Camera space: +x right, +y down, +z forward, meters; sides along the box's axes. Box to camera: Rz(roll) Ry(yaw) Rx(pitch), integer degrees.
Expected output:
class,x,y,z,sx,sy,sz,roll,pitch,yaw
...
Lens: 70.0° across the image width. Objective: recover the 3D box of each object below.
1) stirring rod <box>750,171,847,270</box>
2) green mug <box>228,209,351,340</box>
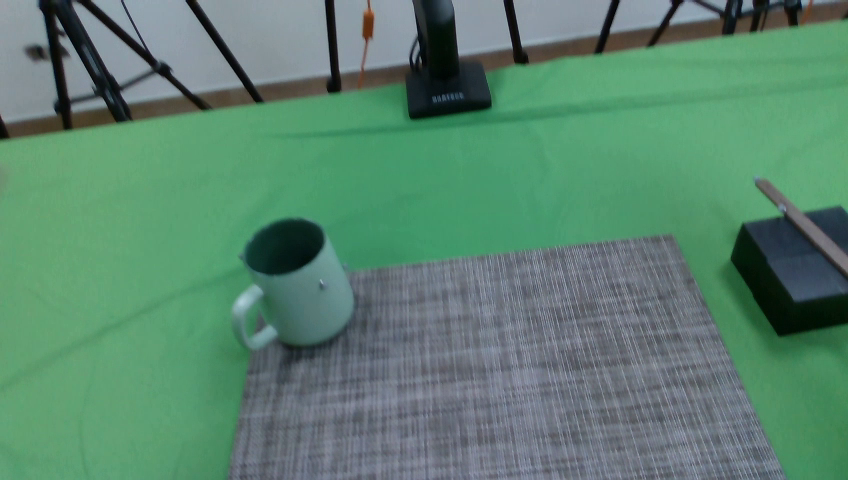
class,x,y,z,sx,sy,sz,roll,pitch,yaw
stirring rod,0.364,-0.011,0.566,0.014,0.006,0.174,-13,46,-8
green mug,-0.135,0.044,0.587,0.092,0.106,0.125,24,54,28
